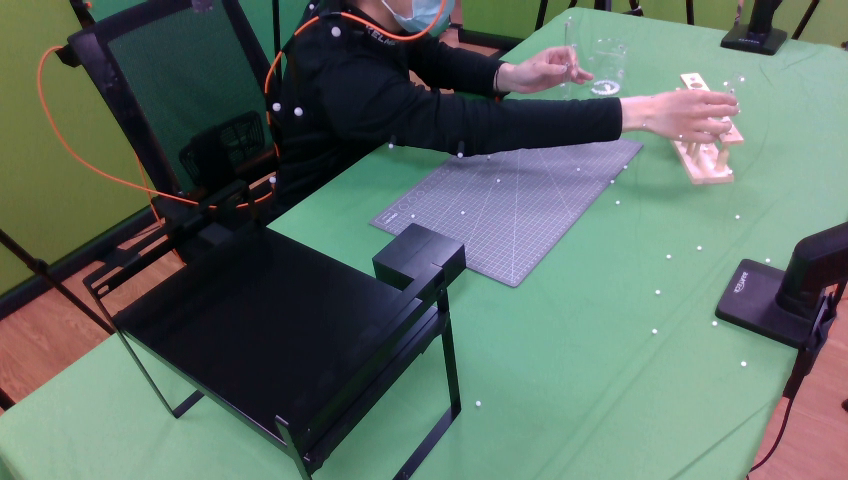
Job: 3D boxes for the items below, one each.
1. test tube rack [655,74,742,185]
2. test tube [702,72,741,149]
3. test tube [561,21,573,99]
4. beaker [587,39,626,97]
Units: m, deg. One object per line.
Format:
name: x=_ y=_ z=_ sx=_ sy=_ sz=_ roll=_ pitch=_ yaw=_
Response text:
test tube rack: x=0.488 y=-0.205 z=1.093 sx=0.067 sy=0.085 sz=0.241 roll=-3 pitch=41 yaw=5
test tube: x=0.501 y=-0.215 z=1.022 sx=0.017 sy=0.151 sz=0.017 roll=0 pitch=48 yaw=1
test tube: x=0.269 y=-0.336 z=1.139 sx=0.017 sy=0.151 sz=0.017 roll=-4 pitch=37 yaw=4
beaker: x=0.386 y=-0.361 z=1.280 sx=0.074 sy=0.101 sz=0.083 roll=-22 pitch=43 yaw=-15
